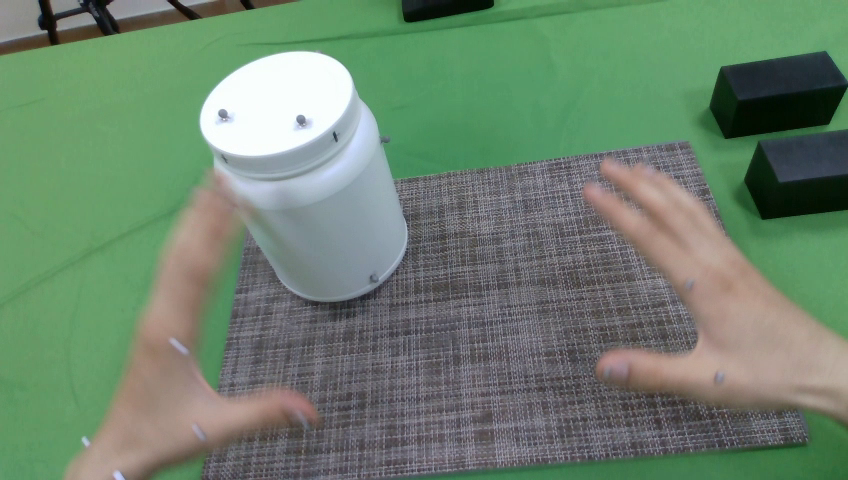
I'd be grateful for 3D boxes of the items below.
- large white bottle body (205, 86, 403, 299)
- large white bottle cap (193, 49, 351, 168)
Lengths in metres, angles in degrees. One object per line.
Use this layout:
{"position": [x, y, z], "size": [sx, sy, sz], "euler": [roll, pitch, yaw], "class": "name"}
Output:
{"position": [-0.097, -0.048, 0.510], "size": [0.130, 0.186, 0.129], "euler": [-5, 53, 7], "class": "large white bottle body"}
{"position": [-0.111, -0.099, 0.443], "size": [0.115, 0.018, 0.113], "euler": [-5, 53, 7], "class": "large white bottle cap"}
